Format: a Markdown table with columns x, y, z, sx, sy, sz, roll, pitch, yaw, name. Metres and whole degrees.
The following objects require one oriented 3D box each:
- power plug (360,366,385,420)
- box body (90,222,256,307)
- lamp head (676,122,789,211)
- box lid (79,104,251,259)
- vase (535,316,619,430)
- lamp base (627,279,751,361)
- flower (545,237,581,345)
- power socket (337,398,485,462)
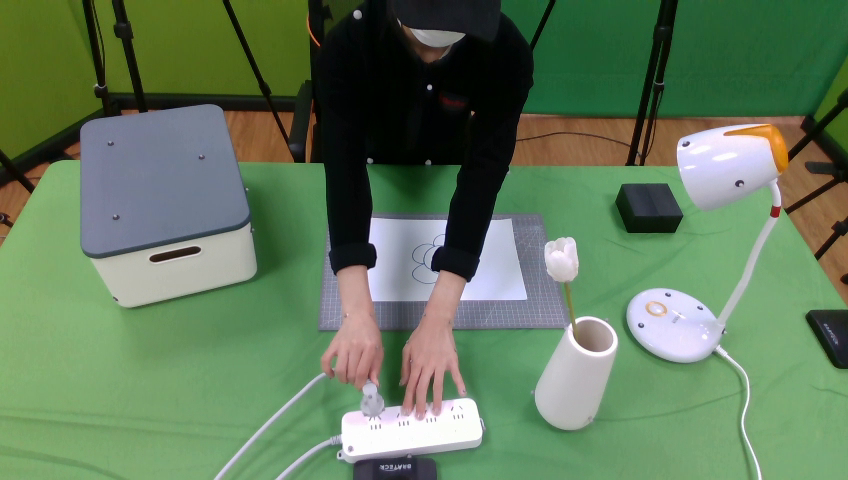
| x | y | z | sx | sy | sz | roll | pitch | yaw | name |
| --- | --- | --- | --- | --- | --- | --- | --- | --- | --- |
| -0.076 | 0.227 | 0.892 | 0.035 | 0.053 | 0.072 | -1 | 42 | -4 | power plug |
| -0.471 | -0.070 | 1.131 | 0.254 | 0.161 | 0.361 | -14 | 49 | -17 | box body |
| 0.423 | -0.104 | 0.819 | 0.122 | 0.113 | 0.112 | -13 | 33 | 39 | lamp head |
| -0.467 | -0.120 | 1.076 | 0.264 | 0.015 | 0.369 | -13 | 49 | -17 | box lid |
| 0.229 | 0.200 | 0.901 | 0.098 | 0.201 | 0.097 | 3 | 46 | -3 | vase |
| 0.460 | 0.100 | 1.027 | 0.178 | 0.181 | 0.160 | 27 | 51 | 17 | lamp base |
| 0.213 | 0.137 | 0.846 | 0.038 | 0.364 | 0.044 | 21 | 55 | 40 | flower |
| -0.018 | 0.286 | 0.915 | 0.227 | 0.033 | 0.071 | -4 | 46 | -8 | power socket |
